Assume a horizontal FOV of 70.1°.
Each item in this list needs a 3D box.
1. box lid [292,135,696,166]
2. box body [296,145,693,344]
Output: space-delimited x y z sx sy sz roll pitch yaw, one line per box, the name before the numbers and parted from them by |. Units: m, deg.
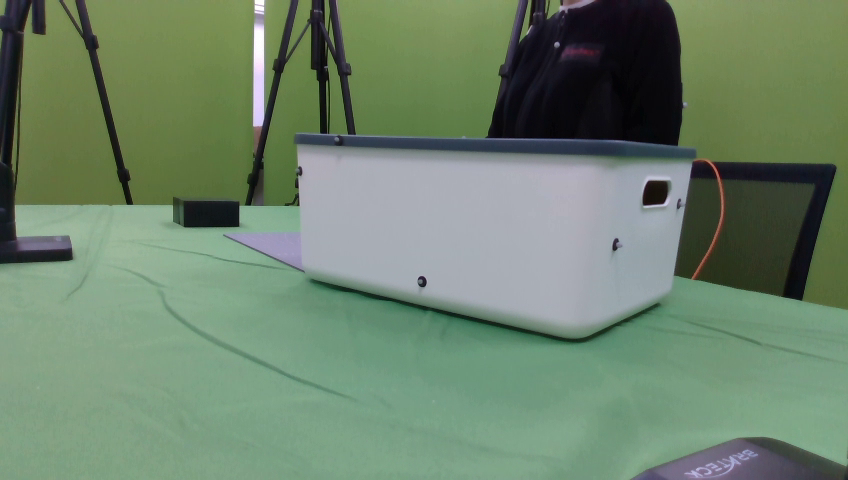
box lid | 0.068 -0.094 0.645 0.369 0.015 0.265 8 9 37
box body | 0.065 -0.020 0.653 0.362 0.160 0.255 9 9 36
